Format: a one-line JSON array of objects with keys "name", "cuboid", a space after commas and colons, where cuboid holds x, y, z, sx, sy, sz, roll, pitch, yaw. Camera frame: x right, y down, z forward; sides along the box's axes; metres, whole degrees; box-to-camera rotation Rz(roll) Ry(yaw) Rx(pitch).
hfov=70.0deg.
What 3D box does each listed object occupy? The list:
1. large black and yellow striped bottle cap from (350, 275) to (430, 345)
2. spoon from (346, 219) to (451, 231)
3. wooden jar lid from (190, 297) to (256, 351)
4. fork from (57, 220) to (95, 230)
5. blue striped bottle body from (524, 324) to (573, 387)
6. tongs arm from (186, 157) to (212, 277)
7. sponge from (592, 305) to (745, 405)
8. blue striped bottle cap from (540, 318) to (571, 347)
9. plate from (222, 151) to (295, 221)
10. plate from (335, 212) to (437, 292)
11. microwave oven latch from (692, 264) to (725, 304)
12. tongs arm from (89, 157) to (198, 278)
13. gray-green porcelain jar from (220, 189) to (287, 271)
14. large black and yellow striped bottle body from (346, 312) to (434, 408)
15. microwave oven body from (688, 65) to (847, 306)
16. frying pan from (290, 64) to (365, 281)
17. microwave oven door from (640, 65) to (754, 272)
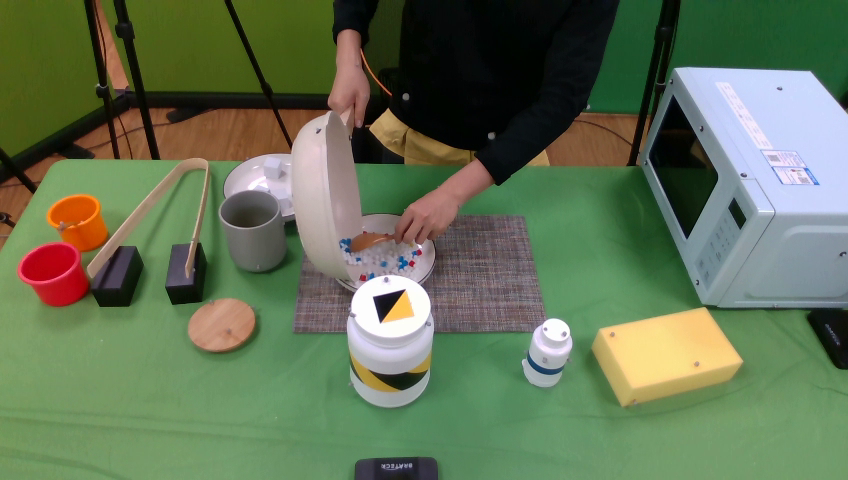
[{"name": "large black and yellow striped bottle cap", "cuboid": [-0.048, 0.097, 0.868, 0.115, 0.019, 0.114, 3, 48, -3]}, {"name": "spoon", "cuboid": [-0.047, -0.026, 1.120, 0.194, 0.022, 0.041, 1, 15, -9]}, {"name": "wooden jar lid", "cuboid": [-0.342, 0.145, 1.033, 0.108, 0.021, 0.107, 2, 45, -2]}, {"name": "fork", "cuboid": [-0.624, -0.027, 1.086, 0.028, 0.207, 0.018, -3, 92, -17]}, {"name": "blue striped bottle body", "cuboid": [0.200, 0.178, 0.970, 0.063, 0.121, 0.062, 2, 46, -2]}, {"name": "tongs arm", "cuboid": [-0.445, -0.058, 1.168, 0.051, 0.026, 0.382, -5, 37, -6]}, {"name": "sponge", "cuboid": [0.405, 0.190, 1.014, 0.207, 0.061, 0.117, -10, 48, -12]}, {"name": "blue striped bottle cap", "cuboid": [0.203, 0.142, 0.933, 0.044, 0.021, 0.044, 3, 49, -3]}, {"name": "plate", "cuboid": [-0.310, -0.106, 1.263, 0.208, 0.039, 0.206, 2, 47, -2]}, {"name": "plate", "cuboid": [-0.080, 0.030, 1.143, 0.209, 0.038, 0.208, 2, 46, -2]}, {"name": "microwave oven latch", "cuboid": [0.522, 0.081, 1.116, 0.030, 0.029, 0.078, 1, 46, -2]}, {"name": "tongs arm", "cuboid": [-0.529, -0.058, 1.164, 0.028, 0.028, 0.385, 1, 36, 8]}, {"name": "gray-green porcelain jar", "cuboid": [-0.309, -0.014, 1.113, 0.106, 0.127, 0.105, 2, 46, -2]}, {"name": "large black and yellow striped bottle body", "cuboid": [-0.052, 0.157, 0.929, 0.131, 0.185, 0.130, 2, 46, -2]}, {"name": "microwave oven body", "cuboid": [0.669, -0.111, 1.176, 0.326, 0.261, 0.439, 0, 46, -3]}, {"name": "frying pan", "cuboid": [-0.151, -0.153, 1.092, 0.103, 0.308, 0.485, 0, 53, 8]}, {"name": "microwave oven door", "cuboid": [0.524, -0.148, 1.193, 0.039, 0.245, 0.353, 0, 47, -3]}]
